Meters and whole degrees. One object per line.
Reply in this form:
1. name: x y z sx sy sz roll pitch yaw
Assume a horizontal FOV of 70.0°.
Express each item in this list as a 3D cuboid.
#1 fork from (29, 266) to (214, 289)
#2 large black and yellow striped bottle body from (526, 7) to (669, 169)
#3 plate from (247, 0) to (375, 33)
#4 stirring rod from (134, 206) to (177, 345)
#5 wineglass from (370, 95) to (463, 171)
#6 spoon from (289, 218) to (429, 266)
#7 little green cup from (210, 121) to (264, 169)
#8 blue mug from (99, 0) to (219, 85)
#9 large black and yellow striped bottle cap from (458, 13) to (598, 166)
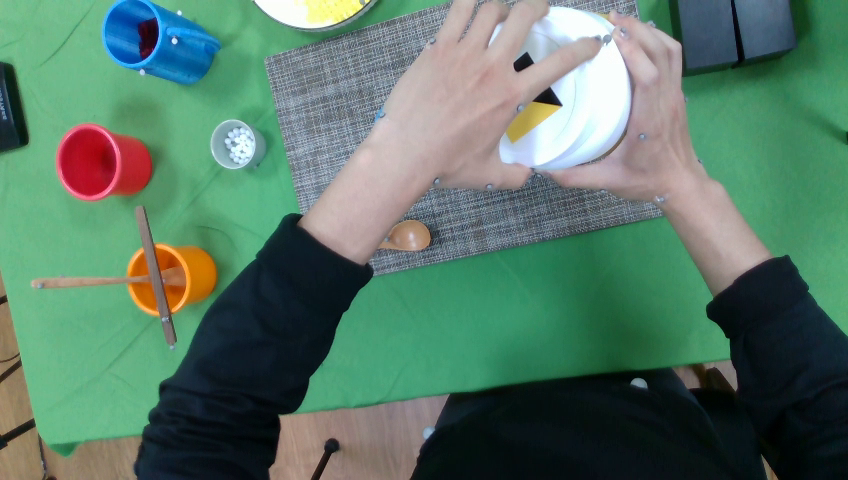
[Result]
1. fork: -0.374 0.050 0.764 0.208 0.018 0.028 -2 102 -31
2. large black and yellow striped bottle body: 0.128 -0.134 0.538 0.130 0.184 0.131 12 111 35
3. plate: -0.131 -0.355 0.735 0.208 0.038 0.209 1 96 12
4. stirring rod: -0.333 0.044 0.752 0.014 0.006 0.176 -13 92 13
5. wineglass: -0.002 -0.111 0.654 0.073 0.172 0.074 1 94 13
6. spoon: -0.085 0.008 0.759 0.193 0.021 0.042 -13 113 13
7. little green cup: -0.238 -0.120 0.777 0.061 0.038 0.061 1 95 13
8. blue mug: -0.314 -0.243 0.749 0.116 0.106 0.082 2 95 12
9. large black and yellow striped bottle cap: 0.077 -0.116 0.472 0.114 0.019 0.115 13 112 35
